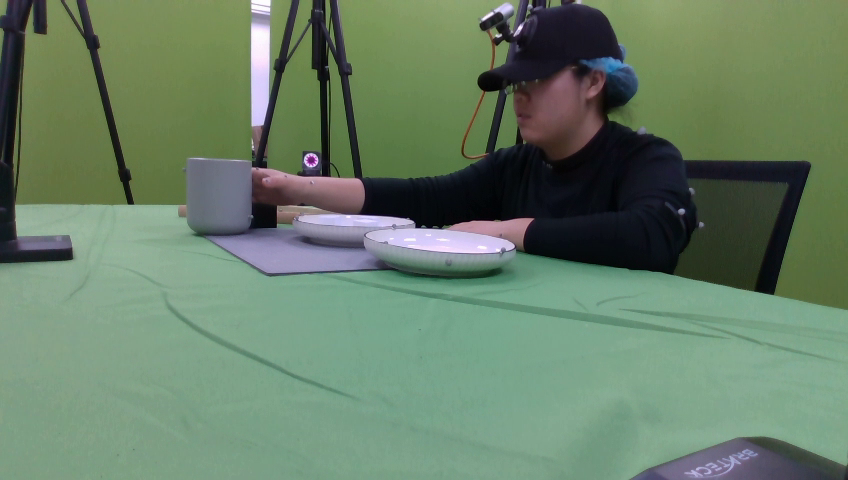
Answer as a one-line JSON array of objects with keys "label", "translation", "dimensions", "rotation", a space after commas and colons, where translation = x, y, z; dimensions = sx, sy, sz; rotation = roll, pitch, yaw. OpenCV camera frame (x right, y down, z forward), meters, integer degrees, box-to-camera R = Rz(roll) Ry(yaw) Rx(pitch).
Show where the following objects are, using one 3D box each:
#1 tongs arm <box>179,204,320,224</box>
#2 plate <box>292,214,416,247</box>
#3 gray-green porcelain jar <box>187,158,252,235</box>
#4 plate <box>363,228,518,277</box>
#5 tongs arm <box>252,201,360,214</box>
[{"label": "tongs arm", "translation": [-0.330, -0.052, 1.270], "dimensions": [0.387, 0.028, 0.028], "rotation": [4, 4, 6]}, {"label": "plate", "translation": [-0.118, -0.017, 1.024], "dimensions": [0.208, 0.039, 0.207], "rotation": [2, 7, 0]}, {"label": "gray-green porcelain jar", "translation": [-0.350, -0.075, 1.036], "dimensions": [0.106, 0.126, 0.106], "rotation": [3, 8, 0]}, {"label": "plate", "translation": [0.021, 0.016, 0.817], "dimensions": [0.209, 0.038, 0.209], "rotation": [4, 9, 0]}, {"label": "tongs arm", "translation": [-0.307, -0.064, 1.348], "dimensions": [0.384, 0.026, 0.051], "rotation": [7, 8, 20]}]
